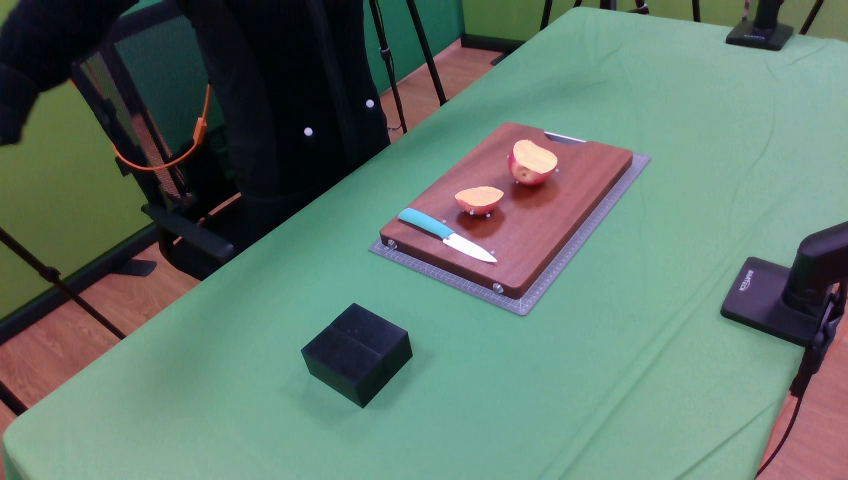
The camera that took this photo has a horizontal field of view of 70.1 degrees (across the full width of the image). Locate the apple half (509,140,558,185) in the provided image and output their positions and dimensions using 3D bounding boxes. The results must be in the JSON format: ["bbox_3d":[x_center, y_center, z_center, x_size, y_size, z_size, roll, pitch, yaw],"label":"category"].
[{"bbox_3d":[0.180,-0.124,1.028,0.081,0.053,0.074,25,44,3],"label":"apple half"}]

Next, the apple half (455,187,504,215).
[{"bbox_3d":[0.094,-0.060,0.988,0.081,0.033,0.081,-4,24,2],"label":"apple half"}]

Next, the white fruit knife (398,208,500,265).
[{"bbox_3d":[0.038,-0.007,0.951,0.205,0.016,0.027,29,82,35],"label":"white fruit knife"}]
